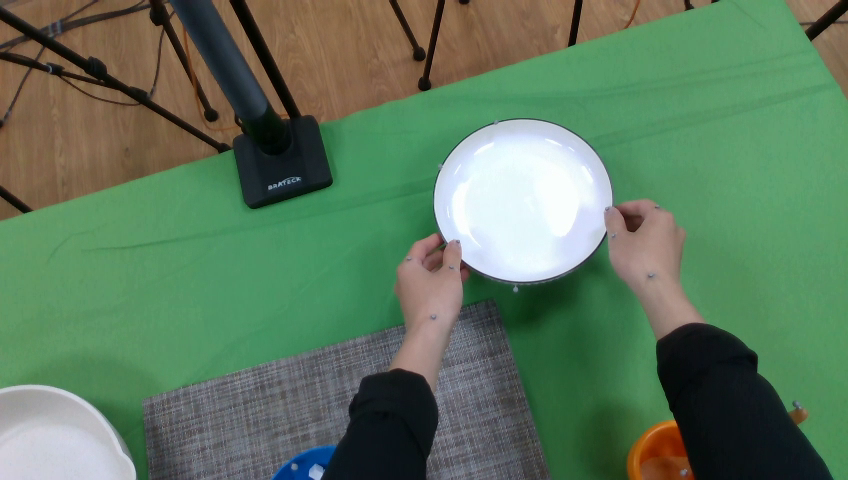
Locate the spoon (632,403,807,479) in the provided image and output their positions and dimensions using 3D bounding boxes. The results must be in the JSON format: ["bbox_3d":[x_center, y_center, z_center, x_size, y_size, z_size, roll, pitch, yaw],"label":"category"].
[{"bbox_3d":[0.286,0.207,0.597,0.022,0.194,0.041,-9,62,-45],"label":"spoon"}]

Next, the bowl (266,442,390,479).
[{"bbox_3d":[-0.094,0.292,0.639,0.151,0.077,0.150,-2,70,6],"label":"bowl"}]

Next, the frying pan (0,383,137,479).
[{"bbox_3d":[-0.422,0.395,0.627,0.307,0.103,0.483,-20,61,-1],"label":"frying pan"}]

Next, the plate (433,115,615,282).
[{"bbox_3d":[0.115,-0.048,0.713,0.207,0.039,0.206,-1,72,5],"label":"plate"}]
